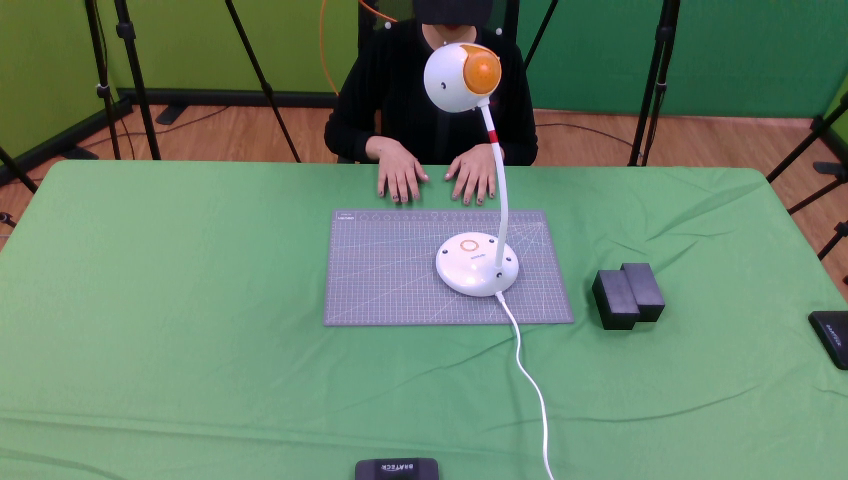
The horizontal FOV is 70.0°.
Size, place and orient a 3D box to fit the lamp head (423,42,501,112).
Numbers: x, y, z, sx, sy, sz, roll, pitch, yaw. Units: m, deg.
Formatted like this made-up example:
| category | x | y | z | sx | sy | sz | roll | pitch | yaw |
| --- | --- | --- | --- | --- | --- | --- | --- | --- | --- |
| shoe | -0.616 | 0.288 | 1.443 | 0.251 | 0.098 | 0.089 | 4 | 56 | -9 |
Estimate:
| category | x | y | z | sx | sy | sz | roll | pitch | yaw |
| --- | --- | --- | --- | --- | --- | --- | --- | --- | --- |
| lamp head | 0.071 | -0.258 | 0.962 | 0.112 | 0.113 | 0.122 | -16 | 19 | -18 |

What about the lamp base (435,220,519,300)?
| category | x | y | z | sx | sy | sz | roll | pitch | yaw |
| --- | --- | --- | --- | --- | --- | --- | --- | --- | --- |
| lamp base | 0.112 | -0.002 | 1.096 | 0.161 | 0.181 | 0.178 | -22 | 54 | -23 |
